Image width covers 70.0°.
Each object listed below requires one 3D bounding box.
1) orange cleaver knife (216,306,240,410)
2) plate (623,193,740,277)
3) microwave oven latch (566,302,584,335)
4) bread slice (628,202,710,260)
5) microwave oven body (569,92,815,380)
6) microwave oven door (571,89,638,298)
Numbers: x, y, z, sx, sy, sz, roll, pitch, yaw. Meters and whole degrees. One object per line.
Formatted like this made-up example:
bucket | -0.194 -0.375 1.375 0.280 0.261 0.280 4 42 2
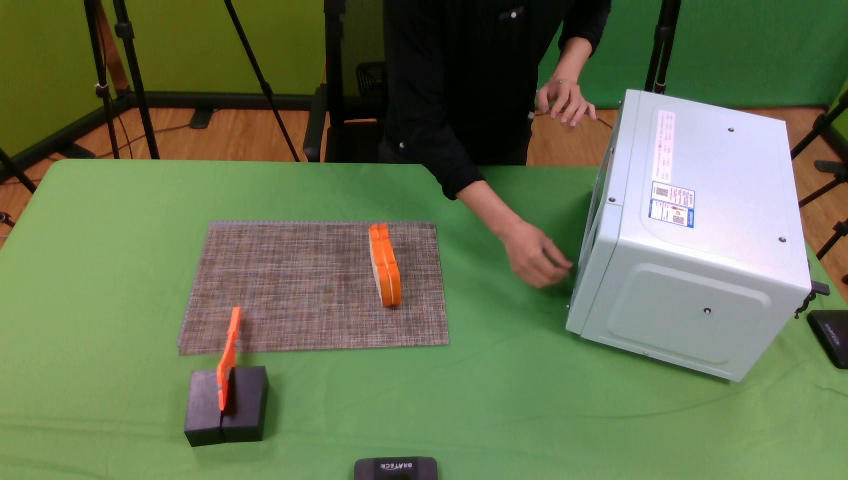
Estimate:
orange cleaver knife | -0.307 0.180 0.957 0.012 0.077 0.210 -2 25 -8
plate | 0.479 -0.007 1.140 0.208 0.039 0.206 0 47 0
microwave oven latch | 0.268 0.126 1.059 0.030 0.029 0.079 16 46 12
bread slice | 0.474 -0.024 1.162 0.134 0.018 0.106 -26 53 -17
microwave oven body | 0.468 -0.022 1.082 0.325 0.261 0.440 15 46 11
microwave oven door | 0.343 -0.091 1.133 0.039 0.245 0.354 15 47 10
